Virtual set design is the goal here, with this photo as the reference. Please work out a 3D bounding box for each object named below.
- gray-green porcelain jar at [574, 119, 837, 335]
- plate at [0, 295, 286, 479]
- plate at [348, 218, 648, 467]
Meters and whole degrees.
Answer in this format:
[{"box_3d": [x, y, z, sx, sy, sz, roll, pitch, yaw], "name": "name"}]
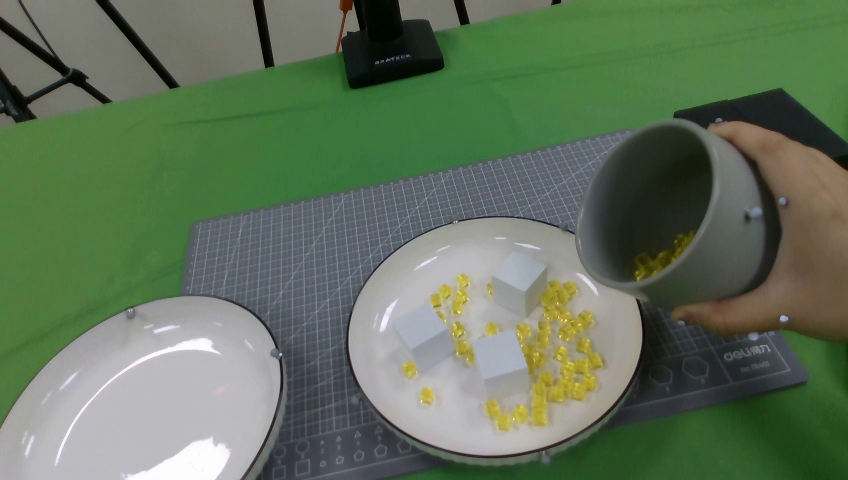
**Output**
[{"box_3d": [0.176, -0.002, 0.376, 0.127, 0.106, 0.104, 20, 39, -25], "name": "gray-green porcelain jar"}, {"box_3d": [-0.195, 0.130, 0.425, 0.209, 0.038, 0.207, -6, 46, 7], "name": "plate"}, {"box_3d": [0.051, 0.068, 0.438, 0.207, 0.039, 0.205, -5, 45, 6], "name": "plate"}]
